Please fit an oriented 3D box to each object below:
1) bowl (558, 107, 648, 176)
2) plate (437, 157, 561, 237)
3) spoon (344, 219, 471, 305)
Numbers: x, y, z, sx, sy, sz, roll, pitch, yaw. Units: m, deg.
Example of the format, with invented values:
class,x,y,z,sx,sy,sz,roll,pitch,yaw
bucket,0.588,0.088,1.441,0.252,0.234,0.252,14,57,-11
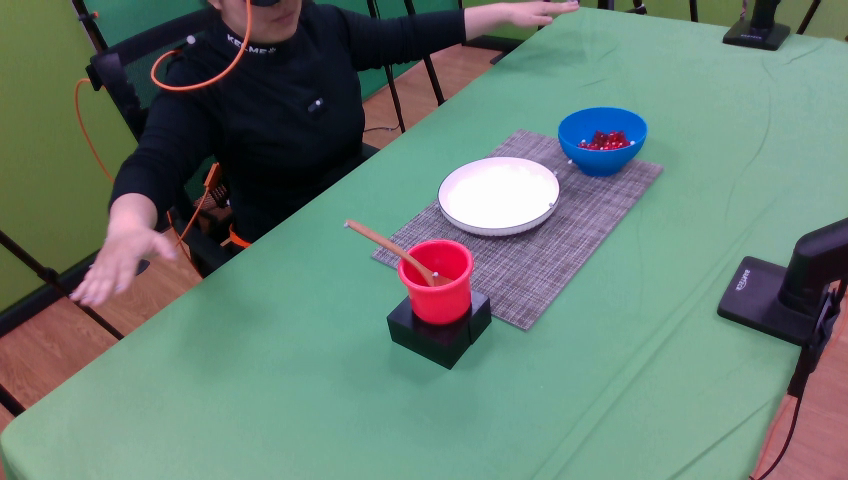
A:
class,x,y,z,sx,sy,sz,roll,pitch,yaw
bowl,0.313,-0.165,1.069,0.151,0.077,0.150,-5,40,5
plate,0.127,-0.070,1.023,0.207,0.039,0.206,-5,40,5
spoon,-0.020,0.026,0.781,0.194,0.021,0.041,37,43,-14
